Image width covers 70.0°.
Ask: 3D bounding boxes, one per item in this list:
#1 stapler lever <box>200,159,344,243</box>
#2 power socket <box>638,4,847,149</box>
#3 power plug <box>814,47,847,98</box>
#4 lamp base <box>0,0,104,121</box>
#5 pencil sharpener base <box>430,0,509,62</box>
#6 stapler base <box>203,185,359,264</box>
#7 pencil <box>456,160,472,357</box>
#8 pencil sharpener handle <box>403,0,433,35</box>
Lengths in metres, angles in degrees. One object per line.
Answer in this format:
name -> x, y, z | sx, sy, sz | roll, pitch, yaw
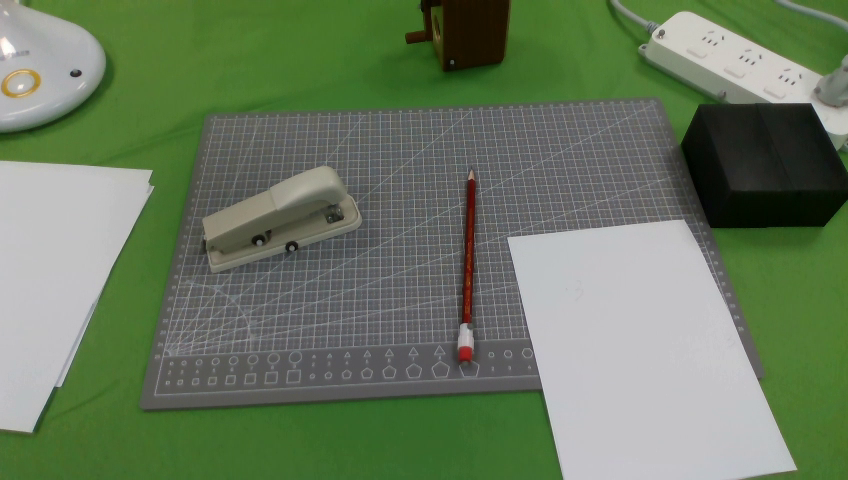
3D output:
stapler lever -> -0.122, -0.032, 0.485 | 0.118, 0.040, 0.026 | -18, 56, -11
power socket -> 0.324, -0.167, 0.601 | 0.072, 0.033, 0.225 | -39, 63, -24
power plug -> 0.396, -0.155, 0.563 | 0.072, 0.053, 0.035 | -30, 60, -18
lamp base -> -0.419, -0.232, 0.559 | 0.161, 0.182, 0.177 | -29, 58, -18
pencil sharpener base -> 0.040, -0.242, 0.608 | 0.077, 0.108, 0.060 | -12, 57, -7
stapler base -> -0.120, -0.020, 0.506 | 0.131, 0.024, 0.041 | -19, 57, -10
pencil -> 0.034, 0.005, 0.497 | 0.012, 0.012, 0.192 | 3, 55, 3
pencil sharpener handle -> -0.008, -0.234, 0.587 | 0.031, 0.068, 0.035 | -12, 35, -7
